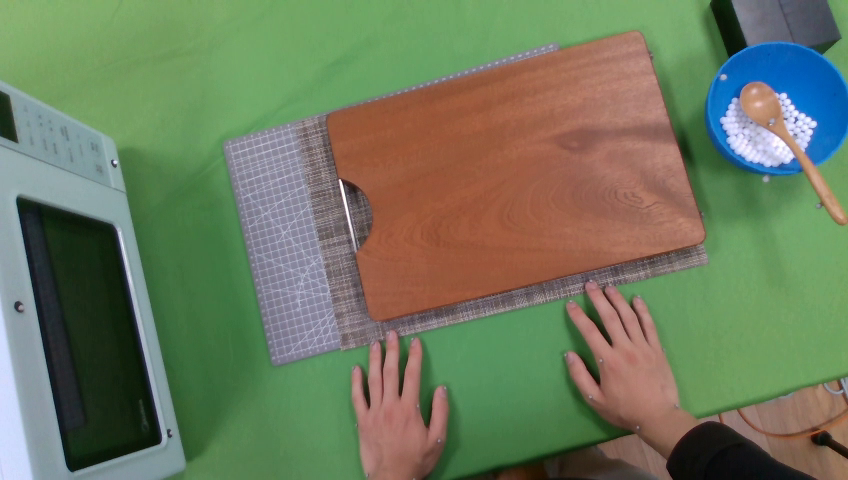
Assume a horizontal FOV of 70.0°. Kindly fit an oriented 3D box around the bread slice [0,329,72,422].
[{"bbox_3d":[-0.487,0.164,0.711,0.132,0.019,0.105,-6,89,-4],"label":"bread slice"}]

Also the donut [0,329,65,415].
[{"bbox_3d":[-0.458,0.148,0.680,0.099,0.048,0.099,-1,97,-9],"label":"donut"}]

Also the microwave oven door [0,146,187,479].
[{"bbox_3d":[-0.362,0.090,0.637,0.039,0.245,0.354,-18,81,4],"label":"microwave oven door"}]

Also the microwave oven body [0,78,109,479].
[{"bbox_3d":[-0.513,0.095,0.658,0.326,0.261,0.440,-17,82,3],"label":"microwave oven body"}]

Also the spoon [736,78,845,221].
[{"bbox_3d":[0.393,-0.101,0.651,0.041,0.022,0.191,-16,58,1],"label":"spoon"}]

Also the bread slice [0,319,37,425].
[{"bbox_3d":[-0.469,0.154,0.632,0.134,0.018,0.106,-32,83,15],"label":"bread slice"}]

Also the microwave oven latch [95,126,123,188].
[{"bbox_3d":[-0.410,-0.102,0.771,0.030,0.029,0.079,-18,82,3],"label":"microwave oven latch"}]

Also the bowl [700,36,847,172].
[{"bbox_3d":[0.383,-0.143,0.688,0.151,0.077,0.151,-1,83,7],"label":"bowl"}]
